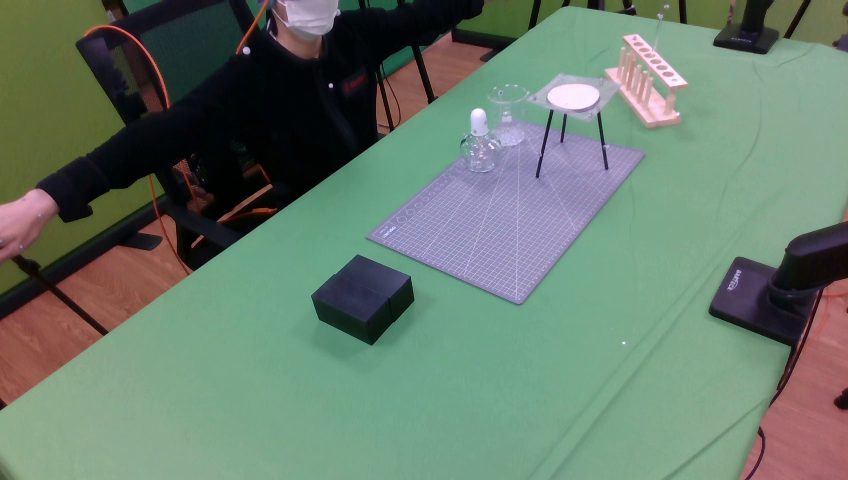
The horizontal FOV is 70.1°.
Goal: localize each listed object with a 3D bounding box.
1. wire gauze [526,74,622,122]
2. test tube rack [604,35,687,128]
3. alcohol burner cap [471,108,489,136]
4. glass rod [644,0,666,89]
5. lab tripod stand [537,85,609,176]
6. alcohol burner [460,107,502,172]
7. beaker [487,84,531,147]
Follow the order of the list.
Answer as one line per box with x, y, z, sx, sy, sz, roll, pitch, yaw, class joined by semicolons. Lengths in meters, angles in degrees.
0.255;-0.248;1.030;0.124;0.011;0.122;24;51;32;wire gauze
0.447;-0.330;1.241;0.067;0.085;0.241;-9;41;-2;test tube rack
0.098;-0.211;1.074;0.034;0.048;0.033;-6;41;6;alcohol burner cap
0.465;-0.397;1.215;0.008;0.200;0.008;0;39;1;glass rod
0.259;-0.192;1.068;0.148;0.132;0.147;-4;42;4;lab tripod stand
0.102;-0.185;1.098;0.078;0.119;0.077;-6;40;5;alcohol burner
0.164;-0.237;1.161;0.084;0.101;0.073;-10;41;-3;beaker
